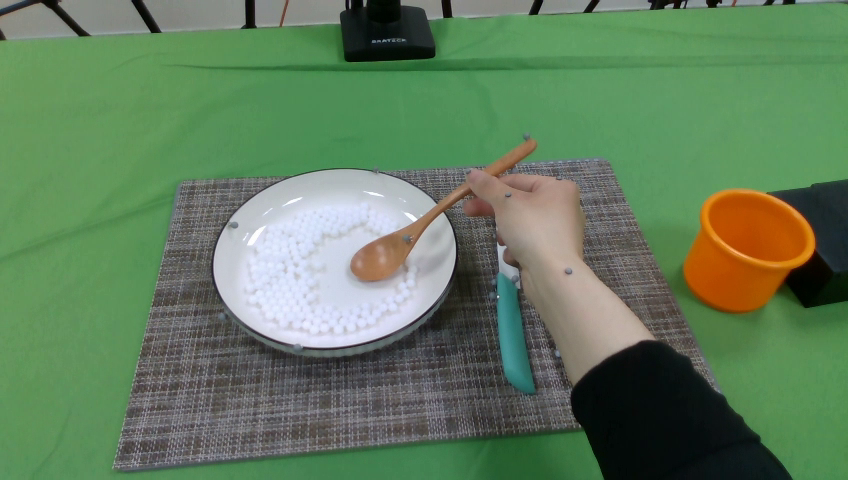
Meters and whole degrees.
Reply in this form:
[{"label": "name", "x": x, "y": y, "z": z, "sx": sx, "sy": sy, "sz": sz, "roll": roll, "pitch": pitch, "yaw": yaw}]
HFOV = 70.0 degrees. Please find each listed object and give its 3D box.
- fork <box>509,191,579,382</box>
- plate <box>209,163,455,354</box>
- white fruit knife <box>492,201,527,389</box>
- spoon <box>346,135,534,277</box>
[{"label": "fork", "x": 0.105, "y": 0.031, "z": 0.534, "sx": 0.028, "sy": 0.019, "sz": 0.205, "roll": 5, "pitch": 45, "yaw": -14}, {"label": "plate", "x": -0.077, "y": 0.013, "z": 0.529, "sx": 0.209, "sy": 0.038, "sz": 0.207, "roll": 1, "pitch": 48, "yaw": -1}, {"label": "white fruit knife", "x": 0.070, "y": 0.036, "z": 0.533, "sx": 0.027, "sy": 0.016, "sz": 0.205, "roll": 26, "pitch": 41, "yaw": -23}, {"label": "spoon", "x": 0.014, "y": -0.030, "z": 0.518, "sx": 0.194, "sy": 0.022, "sz": 0.041, "roll": -37, "pitch": 54, "yaw": 9}]
